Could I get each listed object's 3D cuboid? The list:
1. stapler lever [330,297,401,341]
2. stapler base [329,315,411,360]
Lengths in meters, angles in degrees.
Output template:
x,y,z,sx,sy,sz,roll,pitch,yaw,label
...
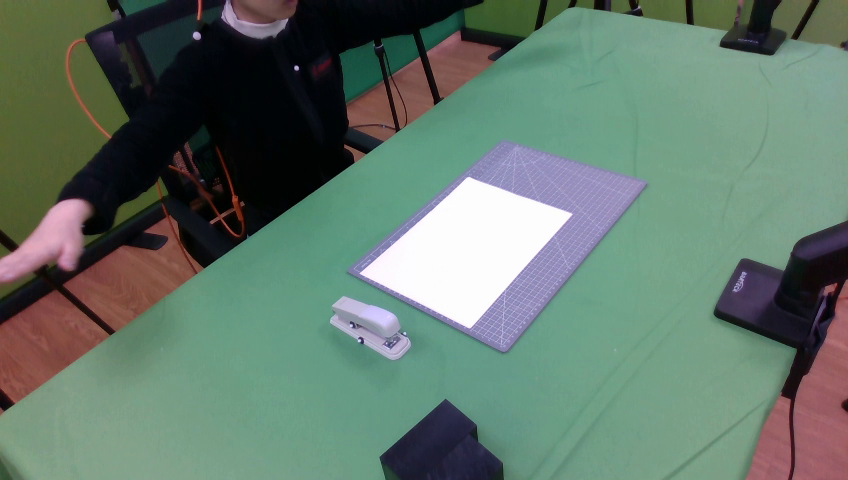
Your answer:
x,y,z,sx,sy,sz,roll,pitch,yaw,label
-0.081,0.102,0.825,0.117,0.040,0.027,22,46,33,stapler lever
-0.077,0.122,0.841,0.129,0.024,0.041,22,46,33,stapler base
